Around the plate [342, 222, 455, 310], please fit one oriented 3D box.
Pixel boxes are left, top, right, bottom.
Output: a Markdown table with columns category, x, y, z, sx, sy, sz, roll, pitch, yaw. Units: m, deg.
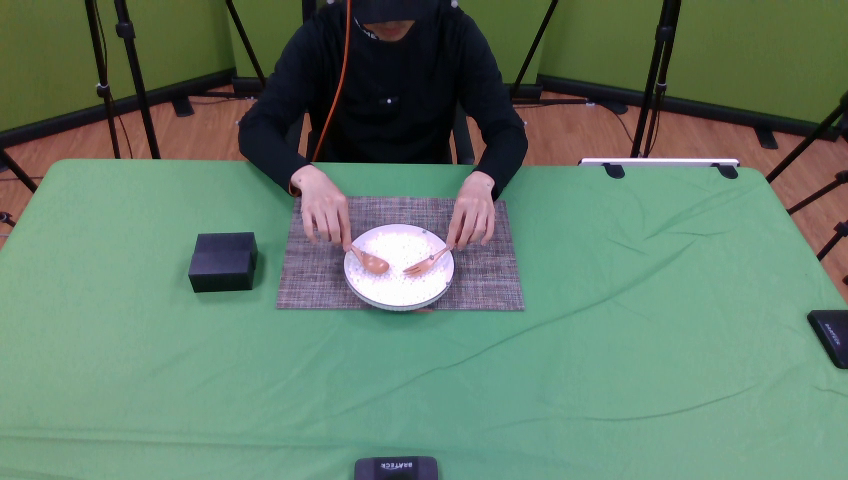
| category | x | y | z | sx | sy | sz | roll | pitch | yaw |
| --- | --- | --- | --- | --- | --- | --- | --- | --- | --- |
| plate | -0.047 | 0.052 | 1.127 | 0.209 | 0.038 | 0.208 | 3 | 46 | -2 |

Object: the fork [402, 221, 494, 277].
| category | x | y | z | sx | sy | sz | roll | pitch | yaw |
| --- | --- | --- | --- | --- | --- | --- | --- | --- | --- |
| fork | 0.049 | 0.014 | 1.145 | 0.207 | 0.019 | 0.028 | -32 | 51 | -16 |

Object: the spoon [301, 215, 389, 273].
| category | x | y | z | sx | sy | sz | roll | pitch | yaw |
| --- | --- | --- | --- | --- | --- | --- | --- | --- | --- |
| spoon | -0.148 | 0.004 | 1.125 | 0.193 | 0.022 | 0.041 | 35 | 47 | 7 |
